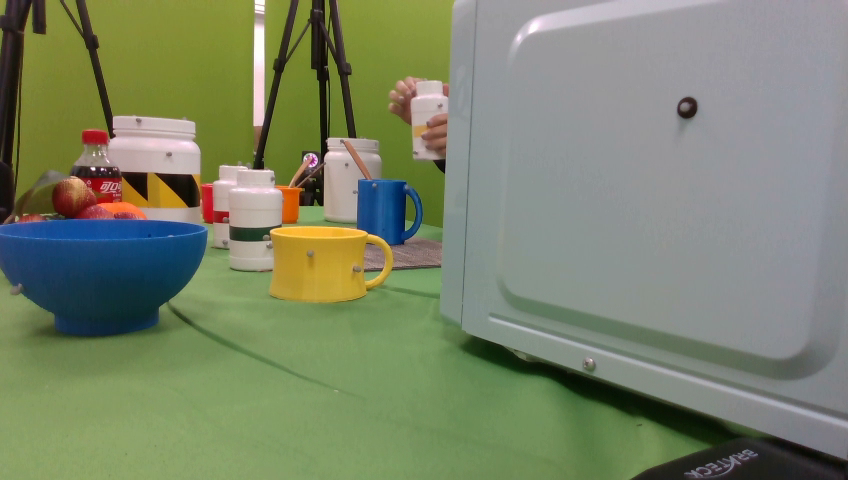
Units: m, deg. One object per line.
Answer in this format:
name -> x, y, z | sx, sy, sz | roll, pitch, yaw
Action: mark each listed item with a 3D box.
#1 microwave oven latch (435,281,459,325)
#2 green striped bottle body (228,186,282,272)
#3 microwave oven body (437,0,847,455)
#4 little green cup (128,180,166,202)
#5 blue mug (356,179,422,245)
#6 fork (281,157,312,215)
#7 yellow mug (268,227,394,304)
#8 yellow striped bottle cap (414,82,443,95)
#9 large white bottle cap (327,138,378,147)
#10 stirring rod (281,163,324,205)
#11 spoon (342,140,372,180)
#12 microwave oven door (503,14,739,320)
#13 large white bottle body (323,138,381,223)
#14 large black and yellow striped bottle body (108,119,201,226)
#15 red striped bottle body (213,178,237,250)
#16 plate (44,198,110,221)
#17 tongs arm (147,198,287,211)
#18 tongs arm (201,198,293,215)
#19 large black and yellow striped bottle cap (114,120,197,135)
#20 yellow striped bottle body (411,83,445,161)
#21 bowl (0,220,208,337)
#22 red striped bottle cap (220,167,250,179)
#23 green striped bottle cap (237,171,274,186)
microwave oven latch -> 0.044, 0.045, 0.470 | 0.079, 0.029, 0.030 | -3, 8, -40
green striped bottle body -> -0.208, -0.023, 0.745 | 0.063, 0.119, 0.063 | 2, 7, 0
microwave oven body -> 0.279, -0.040, 0.464 | 0.444, 0.260, 0.324 | -3, 9, -41
little green cup -> -0.485, -0.087, 1.062 | 0.061, 0.038, 0.061 | -1, 6, 0
blue mug -> -0.057, -0.046, 1.006 | 0.116, 0.106, 0.082 | 5, 8, 21
fork -> -0.289, -0.116, 1.321 | 0.028, 0.019, 0.207 | 6, 51, 19
yellow mug -> -0.094, 0.023, 0.630 | 0.131, 0.064, 0.099 | 0, 8, -22
yellow striped bottle cap -> 0.007, -0.238, 0.961 | 0.044, 0.018, 0.044 | 7, 8, -1
large white bottle cap -> -0.160, -0.218, 1.357 | 0.115, 0.018, 0.115 | 2, 8, 0
stirring rod -> -0.278, -0.105, 1.293 | 0.176, 0.006, 0.014 | -47, 24, -18
spoon -> -0.093, -0.094, 1.024 | 0.042, 0.193, 0.021 | -8, -23, -50
microwave oven door -> 0.217, -0.065, 0.601 | 0.358, 0.243, 0.039 | -4, 10, -41
large white bottle body -> -0.163, -0.135, 1.368 | 0.131, 0.184, 0.130 | 2, 7, 0
large black and yellow striped bottle body -> -0.412, -0.088, 0.930 | 0.131, 0.184, 0.130 | 3, 7, 0
red striped bottle body -> -0.284, -0.048, 0.909 | 0.063, 0.119, 0.063 | 3, 10, 0
plate -> -0.617, -0.056, 1.179 | 0.209, 0.038, 0.209 | 3, 7, 0
tongs arm -> -0.504, -0.091, 1.513 | 0.028, 0.028, 0.389 | 0, 4, 37
tongs arm -> -0.423, -0.084, 1.472 | 0.050, 0.026, 0.386 | 2, 6, 21
large black and yellow striped bottle cap -> -0.407, -0.171, 0.920 | 0.115, 0.019, 0.115 | 2, 9, 0
yellow striped bottle body -> 0.012, -0.188, 0.968 | 0.063, 0.120, 0.063 | -3, 9, 1
bowl -> -0.251, 0.029, 0.479 | 0.151, 0.077, 0.151 | 2, 7, 0
red striped bottle cap -> -0.281, -0.100, 0.901 | 0.044, 0.017, 0.044 | -1, 5, 0
green striped bottle cap -> -0.205, -0.075, 0.738 | 0.044, 0.020, 0.044 | 2, 8, 0
